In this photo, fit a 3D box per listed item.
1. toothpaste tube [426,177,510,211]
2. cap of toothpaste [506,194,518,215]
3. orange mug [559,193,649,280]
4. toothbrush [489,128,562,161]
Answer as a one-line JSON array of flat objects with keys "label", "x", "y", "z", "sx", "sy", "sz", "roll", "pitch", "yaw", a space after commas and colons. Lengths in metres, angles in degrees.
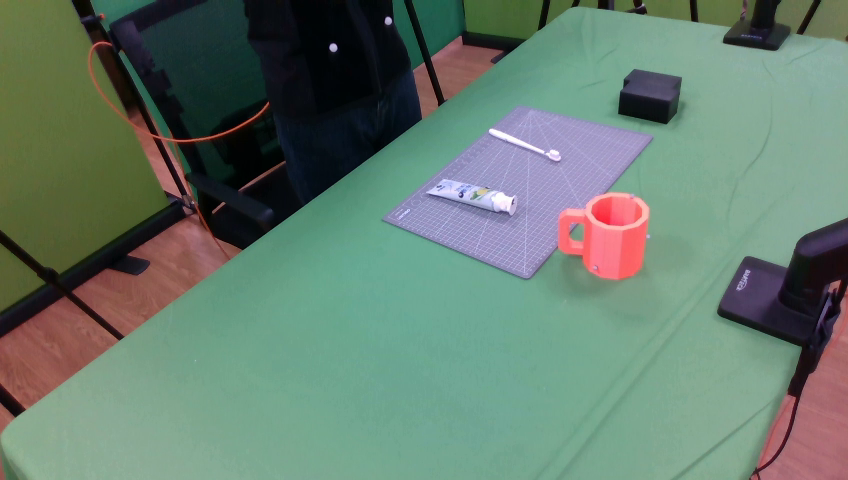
[{"label": "toothpaste tube", "x": 0.083, "y": -0.081, "z": 1.054, "sx": 0.164, "sy": 0.034, "sz": 0.055, "roll": 18, "pitch": 40, "yaw": 34}, {"label": "cap of toothpaste", "x": 0.146, "y": -0.060, "z": 1.007, "sx": 0.011, "sy": 0.037, "sz": 0.037, "roll": 14, "pitch": 46, "yaw": 22}, {"label": "orange mug", "x": 0.261, "y": -0.008, "z": 0.884, "sx": 0.126, "sy": 0.101, "sz": 0.083, "roll": 9, "pitch": 43, "yaw": 14}, {"label": "toothbrush", "x": 0.191, "y": -0.189, "z": 1.167, "sx": 0.014, "sy": 0.017, "sz": 0.180, "roll": -43, "pitch": 48, "yaw": -18}]
